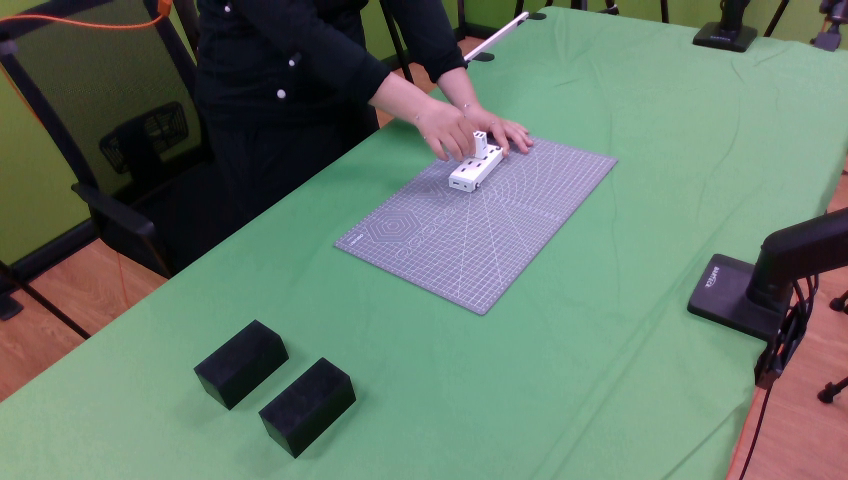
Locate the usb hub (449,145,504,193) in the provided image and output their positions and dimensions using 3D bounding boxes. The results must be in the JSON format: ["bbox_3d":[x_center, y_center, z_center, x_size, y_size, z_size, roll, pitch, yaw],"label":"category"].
[{"bbox_3d":[0.097,-0.132,1.105,0.049,0.025,0.125,19,47,28],"label":"usb hub"}]

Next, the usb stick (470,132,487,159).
[{"bbox_3d":[0.099,-0.165,1.098,0.027,0.059,0.021,18,42,25],"label":"usb stick"}]
